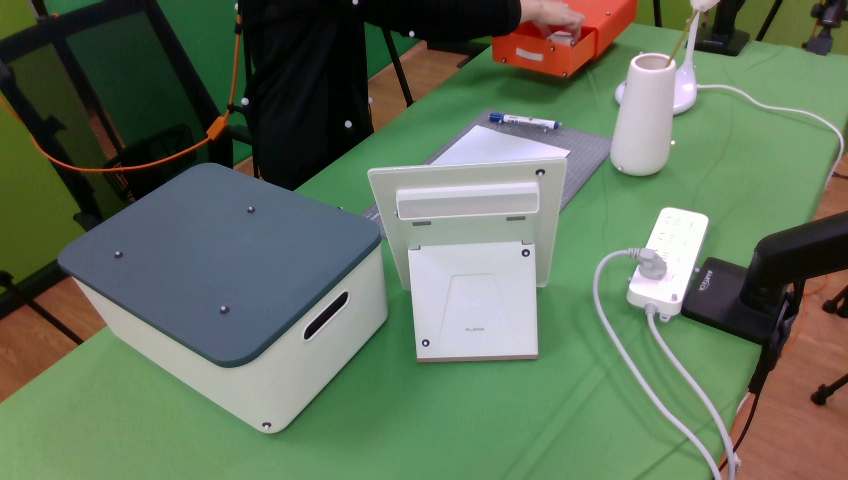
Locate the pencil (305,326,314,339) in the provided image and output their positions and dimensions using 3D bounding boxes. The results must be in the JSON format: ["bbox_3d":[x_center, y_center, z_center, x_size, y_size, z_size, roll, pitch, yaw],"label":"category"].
[{"bbox_3d":[-0.187,0.106,0.880,0.012,0.012,0.192,-27,41,-22],"label":"pencil"}]

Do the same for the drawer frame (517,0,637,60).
[{"bbox_3d":[0.356,-0.516,1.415,0.200,0.083,0.214,22,51,31],"label":"drawer frame"}]

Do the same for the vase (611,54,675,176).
[{"bbox_3d":[0.377,-0.209,1.031,0.098,0.201,0.097,-3,40,3],"label":"vase"}]

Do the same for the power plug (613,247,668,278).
[{"bbox_3d":[0.306,0.031,0.851,0.072,0.053,0.035,24,49,34],"label":"power plug"}]

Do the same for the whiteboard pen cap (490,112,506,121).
[{"bbox_3d":[0.154,-0.254,1.250,0.033,0.018,0.018,15,45,26],"label":"whiteboard pen cap"}]

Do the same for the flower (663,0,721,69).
[{"bbox_3d":[0.379,-0.261,0.965,0.044,0.362,0.038,20,52,5],"label":"flower"}]

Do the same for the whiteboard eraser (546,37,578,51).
[{"bbox_3d":[0.307,-0.422,1.336,0.055,0.042,0.113,16,16,24],"label":"whiteboard eraser"}]

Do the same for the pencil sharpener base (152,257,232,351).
[{"bbox_3d":[-0.322,0.088,0.841,0.061,0.107,0.076,-28,44,-20],"label":"pencil sharpener base"}]

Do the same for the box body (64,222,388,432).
[{"bbox_3d":[-0.256,0.065,0.827,0.361,0.161,0.255,20,48,29],"label":"box body"}]

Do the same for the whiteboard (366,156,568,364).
[{"bbox_3d":[0.059,0.050,0.738,0.217,0.307,0.143,-2,60,6],"label":"whiteboard"}]

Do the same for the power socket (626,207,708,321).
[{"bbox_3d":[0.359,0.025,0.886,0.072,0.033,0.227,16,46,26],"label":"power socket"}]

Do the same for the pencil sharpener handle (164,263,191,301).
[{"bbox_3d":[-0.354,0.055,0.866,0.036,0.068,0.030,-17,39,-29],"label":"pencil sharpener handle"}]

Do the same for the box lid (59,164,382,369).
[{"bbox_3d":[-0.263,0.010,0.777,0.368,0.015,0.264,20,47,29],"label":"box lid"}]

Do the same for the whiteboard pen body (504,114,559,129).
[{"bbox_3d":[0.205,-0.241,1.225,0.140,0.017,0.017,14,44,26],"label":"whiteboard pen body"}]

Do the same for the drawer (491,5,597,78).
[{"bbox_3d":[0.288,-0.453,1.354,0.193,0.073,0.212,24,49,32],"label":"drawer"}]

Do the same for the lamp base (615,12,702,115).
[{"bbox_3d":[0.484,-0.364,1.211,0.180,0.181,0.159,-15,41,-13],"label":"lamp base"}]
